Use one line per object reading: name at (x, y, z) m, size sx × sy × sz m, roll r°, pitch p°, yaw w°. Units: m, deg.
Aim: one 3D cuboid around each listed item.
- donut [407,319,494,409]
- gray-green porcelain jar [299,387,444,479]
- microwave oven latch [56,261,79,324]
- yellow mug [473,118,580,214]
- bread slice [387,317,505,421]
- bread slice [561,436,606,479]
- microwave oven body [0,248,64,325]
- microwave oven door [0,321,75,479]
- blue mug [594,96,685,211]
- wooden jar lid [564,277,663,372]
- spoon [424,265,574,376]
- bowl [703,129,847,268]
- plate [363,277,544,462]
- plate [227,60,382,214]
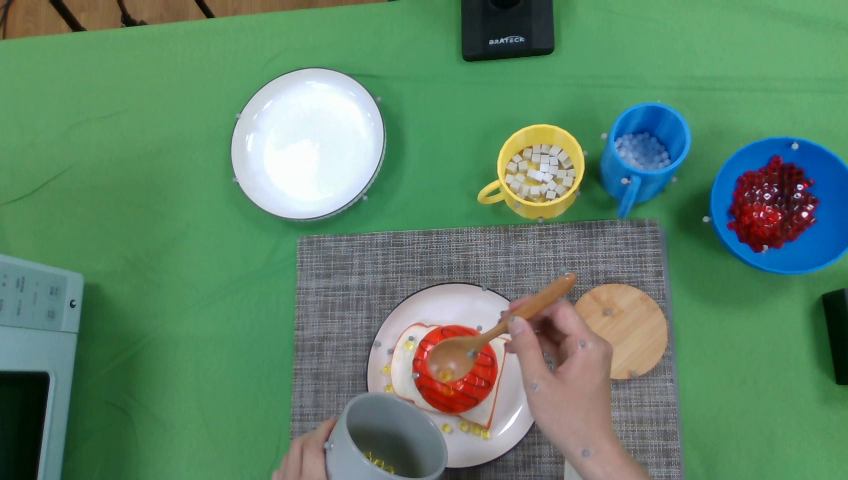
donut at (0.029, 0.138, 0.678) m, size 0.099 × 0.048 × 0.098 m, roll -1°, pitch 79°, yaw 6°
gray-green porcelain jar at (-0.055, 0.221, 0.571) m, size 0.105 × 0.106 × 0.127 m, roll 35°, pitch 112°, yaw 14°
microwave oven latch at (-0.469, 0.068, 0.782) m, size 0.030 × 0.029 × 0.079 m, roll 1°, pitch 80°, yaw 9°
yellow mug at (0.120, -0.080, 0.725) m, size 0.131 × 0.064 × 0.099 m, roll -24°, pitch 75°, yaw 5°
bread slice at (0.021, 0.146, 0.709) m, size 0.131 × 0.019 × 0.104 m, roll 11°, pitch 80°, yaw 8°
bread slice at (0.159, 0.260, 0.616) m, size 0.018 × 0.135 × 0.106 m, roll 6°, pitch 77°, yaw 3°
microwave oven body at (-0.631, 0.226, 0.677) m, size 0.325 × 0.261 × 0.439 m, roll -1°, pitch 79°, yaw 8°
microwave oven door at (-0.489, 0.262, 0.642) m, size 0.039 × 0.245 × 0.354 m, roll -2°, pitch 78°, yaw 9°
blue mug at (0.236, -0.088, 0.688) m, size 0.082 × 0.106 × 0.116 m, roll 18°, pitch 82°, yaw 12°
wooden jar lid at (0.216, 0.097, 0.694) m, size 0.108 × 0.021 × 0.108 m, roll -2°, pitch 79°, yaw 9°
spoon at (0.061, 0.074, 0.527) m, size 0.041 × 0.194 × 0.021 m, roll 47°, pitch 45°, yaw 0°
bowl at (0.380, -0.038, 0.669) m, size 0.151 × 0.077 × 0.150 m, roll -2°, pitch 79°, yaw 9°
plate at (0.034, 0.147, 0.704) m, size 0.209 × 0.038 × 0.208 m, roll -2°, pitch 79°, yaw 8°
plate at (-0.153, -0.132, 0.793) m, size 0.207 × 0.039 × 0.206 m, roll -2°, pitch 79°, yaw 9°
